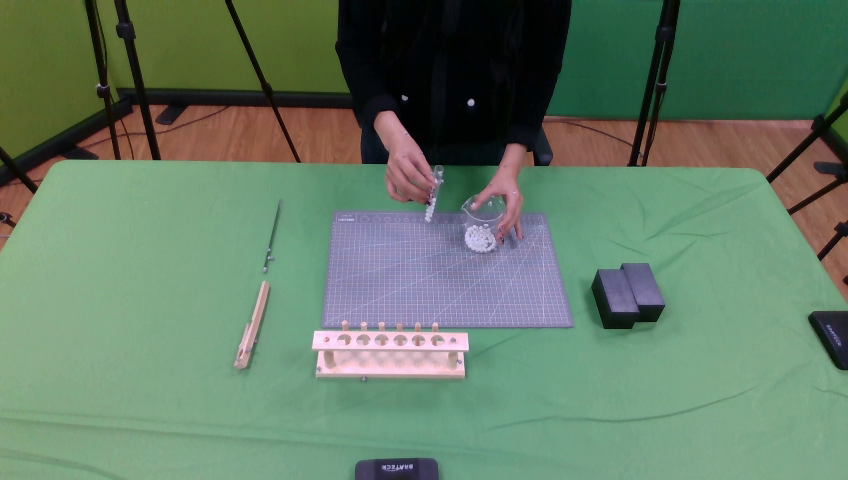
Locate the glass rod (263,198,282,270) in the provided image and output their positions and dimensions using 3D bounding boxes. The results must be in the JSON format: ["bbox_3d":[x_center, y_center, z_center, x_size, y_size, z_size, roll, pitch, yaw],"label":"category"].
[{"bbox_3d":[-0.299,-0.017,1.202,0.008,0.008,0.198,1,46,-2],"label":"glass rod"}]

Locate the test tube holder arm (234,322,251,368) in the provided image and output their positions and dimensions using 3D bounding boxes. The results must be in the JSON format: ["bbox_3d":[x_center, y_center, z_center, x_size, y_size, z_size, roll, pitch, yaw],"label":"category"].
[{"bbox_3d":[-0.299,0.173,1.013,0.010,0.015,0.087,-17,42,22],"label":"test tube holder arm"}]

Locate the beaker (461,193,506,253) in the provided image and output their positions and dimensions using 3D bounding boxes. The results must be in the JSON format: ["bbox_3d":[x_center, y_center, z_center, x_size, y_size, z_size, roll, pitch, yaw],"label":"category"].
[{"bbox_3d":[0.112,-0.030,1.176,0.084,0.101,0.073,5,47,4],"label":"beaker"}]

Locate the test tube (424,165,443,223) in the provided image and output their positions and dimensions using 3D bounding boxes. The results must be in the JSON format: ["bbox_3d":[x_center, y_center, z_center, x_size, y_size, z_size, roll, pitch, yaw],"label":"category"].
[{"bbox_3d":[0.016,-0.079,1.080,0.017,0.151,0.017,4,54,-6],"label":"test tube"}]

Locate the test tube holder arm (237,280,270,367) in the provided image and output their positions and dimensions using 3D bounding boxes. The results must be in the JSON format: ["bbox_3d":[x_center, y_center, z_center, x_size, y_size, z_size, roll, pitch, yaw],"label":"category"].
[{"bbox_3d":[-0.291,0.140,1.042,0.013,0.015,0.177,-17,41,22],"label":"test tube holder arm"}]

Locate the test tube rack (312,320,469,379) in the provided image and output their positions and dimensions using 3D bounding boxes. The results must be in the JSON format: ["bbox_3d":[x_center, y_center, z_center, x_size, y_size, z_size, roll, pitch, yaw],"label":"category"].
[{"bbox_3d":[-0.054,0.173,0.984,0.242,0.085,0.066,1,46,-3],"label":"test tube rack"}]
